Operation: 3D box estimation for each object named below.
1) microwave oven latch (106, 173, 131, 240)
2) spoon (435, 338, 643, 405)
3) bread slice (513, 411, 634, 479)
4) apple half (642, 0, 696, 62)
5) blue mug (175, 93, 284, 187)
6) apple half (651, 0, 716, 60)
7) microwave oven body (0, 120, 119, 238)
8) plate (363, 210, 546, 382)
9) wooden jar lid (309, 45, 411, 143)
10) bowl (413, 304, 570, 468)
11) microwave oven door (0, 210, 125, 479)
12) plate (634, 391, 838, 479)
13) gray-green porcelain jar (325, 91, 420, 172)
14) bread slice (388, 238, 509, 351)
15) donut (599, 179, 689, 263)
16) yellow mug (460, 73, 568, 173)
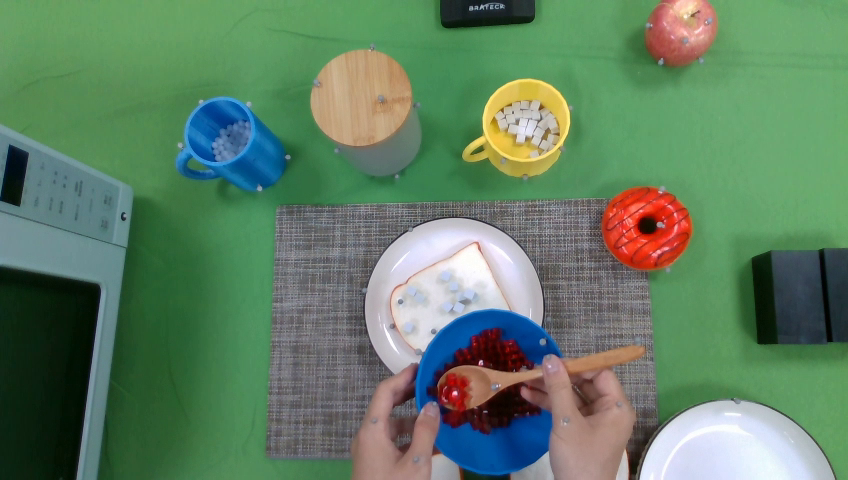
[{"bbox_3d":[-0.382,-0.041,0.745,0.030,0.029,0.079,4,82,6],"label":"microwave oven latch"},{"bbox_3d":[0.099,0.117,0.548,0.193,0.022,0.041,-17,83,24],"label":"spoon"},{"bbox_3d":[0.159,0.239,0.641,0.135,0.018,0.106,-5,77,-16],"label":"bread slice"},{"bbox_3d":[0.278,-0.237,0.712,0.033,0.081,0.081,-33,79,-5],"label":"apple half"},{"bbox_3d":[-0.238,-0.110,0.727,0.116,0.106,0.082,-26,79,1],"label":"blue mug"},{"bbox_3d":[0.310,-0.259,0.715,0.053,0.075,0.080,-33,75,-6],"label":"apple half"},{"bbox_3d":[-0.549,0.111,0.639,0.326,0.261,0.440,2,82,5],"label":"microwave oven body"},{"bbox_3d":[0.035,0.069,0.703,0.207,0.039,0.207,-1,81,5],"label":"plate"},{"bbox_3d":[-0.067,-0.153,0.644,0.108,0.021,0.108,-1,79,6],"label":"wooden jar lid"},{"bbox_3d":[0.058,0.140,0.596,0.152,0.077,0.151,2,80,-11],"label":"bowl"},{"bbox_3d":[-0.407,0.158,0.613,0.039,0.245,0.354,2,81,6],"label":"microwave oven door"},{"bbox_3d":[0.327,0.267,0.647,0.209,0.038,0.208,-1,81,6],"label":"plate"},{"bbox_3d":[-0.061,-0.142,0.705,0.106,0.127,0.105,-1,80,6],"label":"gray-green porcelain jar"},{"bbox_3d":[0.026,0.071,0.705,0.131,0.019,0.104,-27,79,-1],"label":"bread slice"},{"bbox_3d":[0.250,-0.021,0.693,0.099,0.048,0.098,-1,82,5],"label":"donut"},{"bbox_3d":[0.102,-0.130,0.718,0.131,0.064,0.099,-25,79,2],"label":"yellow mug"}]
